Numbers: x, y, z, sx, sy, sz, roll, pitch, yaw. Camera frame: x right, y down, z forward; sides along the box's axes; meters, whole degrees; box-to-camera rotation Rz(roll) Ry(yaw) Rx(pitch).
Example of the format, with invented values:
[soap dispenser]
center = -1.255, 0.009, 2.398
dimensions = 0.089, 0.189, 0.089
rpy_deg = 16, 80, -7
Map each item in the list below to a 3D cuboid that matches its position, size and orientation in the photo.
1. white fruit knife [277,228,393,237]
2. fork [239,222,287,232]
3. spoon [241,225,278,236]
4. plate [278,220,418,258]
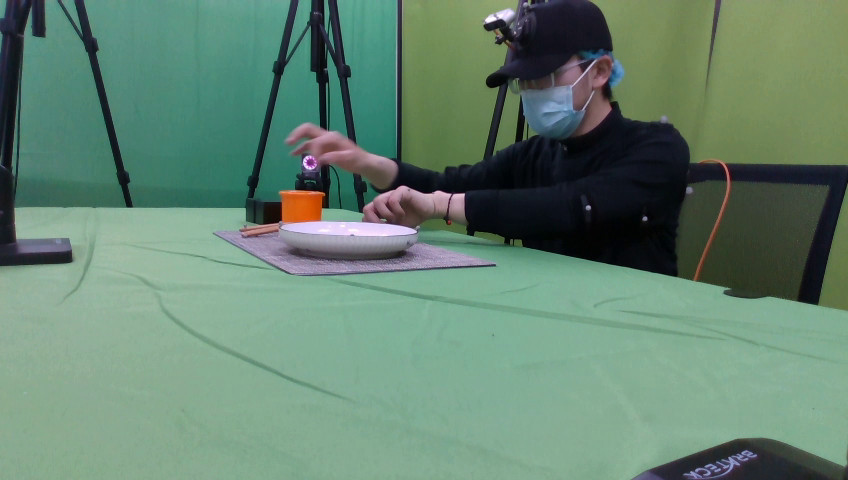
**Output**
[white fruit knife]
center = -0.156, -0.013, 1.076
dimensions = 0.208, 0.016, 0.027
rpy_deg = -2, 1, -24
[fork]
center = -0.240, -0.025, 1.125
dimensions = 0.208, 0.018, 0.028
rpy_deg = -1, 14, -35
[spoon]
center = -0.232, -0.021, 1.082
dimensions = 0.195, 0.021, 0.041
rpy_deg = -3, 27, -37
[plate]
center = -0.114, -0.002, 0.914
dimensions = 0.209, 0.038, 0.209
rpy_deg = 2, 7, 0
